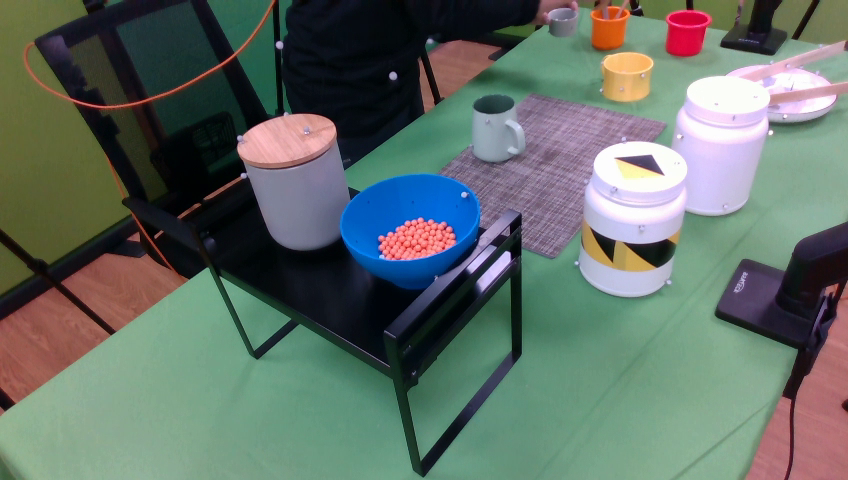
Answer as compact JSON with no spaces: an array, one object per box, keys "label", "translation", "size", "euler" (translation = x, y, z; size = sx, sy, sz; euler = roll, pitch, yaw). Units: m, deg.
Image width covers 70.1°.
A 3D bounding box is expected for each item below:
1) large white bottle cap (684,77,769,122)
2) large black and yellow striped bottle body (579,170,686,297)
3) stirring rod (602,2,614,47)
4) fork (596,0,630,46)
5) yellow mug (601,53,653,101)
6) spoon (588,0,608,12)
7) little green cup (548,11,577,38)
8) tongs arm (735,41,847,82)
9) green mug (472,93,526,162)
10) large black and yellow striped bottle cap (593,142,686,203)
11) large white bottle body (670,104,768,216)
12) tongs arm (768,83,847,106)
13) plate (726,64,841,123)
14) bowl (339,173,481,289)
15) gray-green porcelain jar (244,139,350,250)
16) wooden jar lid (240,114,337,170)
[{"label":"large white bottle cap","translation":[0.448,-0.209,0.897],"size":[0.115,0.018,0.114],"euler":[-4,40,4]},{"label":"large black and yellow striped bottle body","translation":[0.287,-0.027,0.841],"size":[0.131,0.185,0.130],"euler":[-4,40,4]},{"label":"stirring rod","translation":[0.439,-0.552,1.463],"size":[0.014,0.006,0.175],"euler":[-7,83,3]},{"label":"fork","translation":[0.481,-0.556,1.452],"size":[0.028,0.019,0.207],"euler":[40,103,38]},{"label":"yellow mug","translation":[0.423,-0.354,1.292],"size":[0.100,0.064,0.129],"euler":[-23,42,-16]},{"label":"spoon","translation":[0.370,-0.509,1.149],"size":[0.021,0.193,0.042],"euler":[45,56,11]},{"label":"little green cup","translation":[0.291,-0.455,1.277],"size":[0.061,0.039,0.061],"euler":[-3,41,3]},{"label":"tongs arm","translation":[0.712,-0.332,1.194],"size":[0.386,0.026,0.050],"euler":[-18,45,-16]},{"label":"green mug","translation":[0.144,-0.202,1.122],"size":[0.093,0.105,0.124],"euler":[-29,45,-23]},{"label":"large black and yellow striped bottle cap","translation":[0.280,-0.090,0.786],"size":[0.115,0.019,0.114],"euler":[-5,41,5]},{"label":"large white bottle body","translation":[0.458,-0.146,0.952],"size":[0.130,0.185,0.130],"euler":[-4,40,4]},{"label":"tongs arm","translation":[0.738,-0.281,1.134],"size":[0.388,0.028,0.028],"euler":[-9,47,-5]},{"label":"plate","translation":[0.695,-0.282,1.189],"size":[0.207,0.039,0.206],"euler":[-4,40,4]},{"label":"bowl","translation":[-0.011,0.001,0.660],"size":[0.151,0.077,0.150],"euler":[-5,41,5]},{"label":"gray-green porcelain jar","translation":[-0.144,-0.060,0.714],"size":[0.106,0.127,0.105],"euler":[-4,41,4]},{"label":"wooden jar lid","translation":[-0.149,-0.106,0.673],"size":[0.108,0.021,0.108],"euler":[-6,39,5]}]
